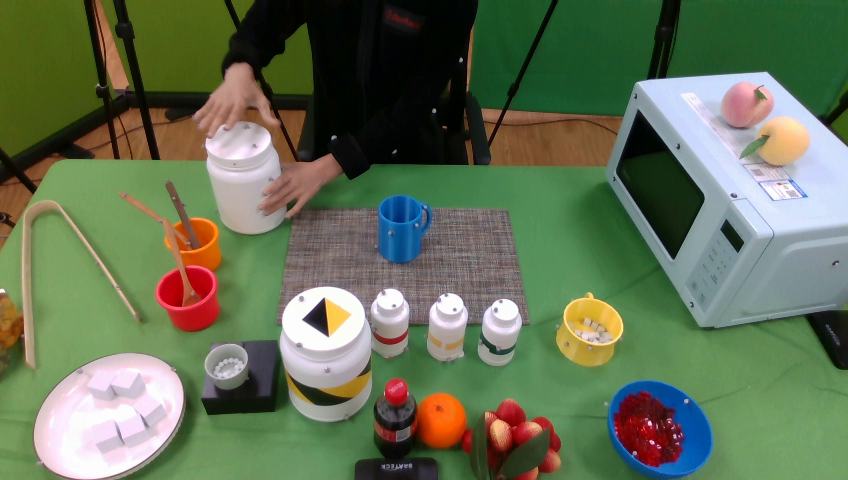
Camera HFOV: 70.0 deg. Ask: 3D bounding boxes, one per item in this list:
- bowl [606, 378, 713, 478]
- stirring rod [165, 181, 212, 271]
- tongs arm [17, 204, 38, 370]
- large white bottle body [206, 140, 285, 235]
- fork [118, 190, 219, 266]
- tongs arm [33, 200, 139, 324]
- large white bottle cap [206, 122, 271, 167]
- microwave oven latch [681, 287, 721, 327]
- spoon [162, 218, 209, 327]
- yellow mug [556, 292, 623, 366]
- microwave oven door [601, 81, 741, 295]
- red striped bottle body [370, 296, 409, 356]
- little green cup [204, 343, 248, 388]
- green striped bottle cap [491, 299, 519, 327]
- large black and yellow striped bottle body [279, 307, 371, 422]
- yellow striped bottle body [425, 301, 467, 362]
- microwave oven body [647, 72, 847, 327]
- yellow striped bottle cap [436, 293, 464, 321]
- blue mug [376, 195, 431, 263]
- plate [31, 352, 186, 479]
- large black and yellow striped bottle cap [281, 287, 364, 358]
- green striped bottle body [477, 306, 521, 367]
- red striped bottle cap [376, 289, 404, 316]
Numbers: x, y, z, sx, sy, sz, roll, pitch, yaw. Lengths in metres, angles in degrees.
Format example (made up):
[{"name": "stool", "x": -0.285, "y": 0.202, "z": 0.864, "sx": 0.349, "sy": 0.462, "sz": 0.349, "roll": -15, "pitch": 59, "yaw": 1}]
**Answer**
[{"name": "bowl", "x": 0.340, "y": 0.292, "z": 0.906, "sx": 0.151, "sy": 0.077, "sz": 0.150, "roll": 2, "pitch": 46, "yaw": -2}, {"name": "stirring rod", "x": -0.430, "y": -0.025, "z": 1.107, "sx": 0.014, "sy": 0.006, "sz": 0.176, "roll": -25, "pitch": 94, "yaw": -20}, {"name": "tongs arm", "x": -0.698, "y": 0.070, "z": 1.068, "sx": 0.028, "sy": 0.028, "sz": 0.385, "roll": -20, "pitch": 50, "yaw": -13}, {"name": "large white bottle body", "x": -0.344, "y": -0.116, "z": 1.169, "sx": 0.131, "sy": 0.185, "sz": 0.130, "roll": 2, "pitch": 46, "yaw": -2}, {"name": "fork", "x": -0.459, "y": -0.020, "z": 1.092, "sx": 0.208, "sy": 0.018, "sz": 0.028, "roll": 44, "pitch": 44, "yaw": -24}, {"name": "tongs arm", "x": -0.622, "y": 0.034, "z": 1.105, "sx": 0.051, "sy": 0.026, "sz": 0.382, "roll": -32, "pitch": 56, "yaw": -26}, {"name": "large white bottle cap", "x": -0.338, "y": -0.176, "z": 1.105, "sx": 0.115, "sy": 0.018, "sz": 0.114, "roll": 2, "pitch": 47, "yaw": -2}, {"name": "microwave oven latch", "x": 0.494, "y": 0.119, "z": 1.087, "sx": 0.030, "sy": 0.029, "sz": 0.078, "roll": -6, "pitch": 46, "yaw": -9}, {"name": "spoon", "x": -0.409, "y": 0.054, "z": 1.029, "sx": 0.041, "sy": 0.021, "sz": 0.194, "roll": -17, "pitch": 94, "yaw": -15}, {"name": "yellow mug", "x": 0.285, "y": 0.145, "z": 1.051, "sx": 0.100, "sy": 0.064, "sz": 0.130, "roll": 7, "pitch": 45, "yaw": 3}, {"name": "microwave oven door", "x": 0.455, "y": -0.107, "z": 1.162, "sx": 0.039, "sy": 0.245, "sz": 0.353, "roll": -6, "pitch": 47, "yaw": -11}, {"name": "red striped bottle body", "x": -0.058, "y": 0.134, "z": 0.997, "sx": 0.063, "sy": 0.120, "sz": 0.062, "roll": 4, "pitch": 47, "yaw": -4}, {"name": "little green cup", "x": -0.294, "y": 0.190, "z": 0.909, "sx": 0.061, "sy": 0.039, "sz": 0.061, "roll": 1, "pitch": 48, "yaw": -1}, {"name": "green striped bottle cap", "x": 0.128, "y": 0.115, "z": 0.958, "sx": 0.044, "sy": 0.020, "sz": 0.044, "roll": 1, "pitch": 47, "yaw": -1}, {"name": "large black and yellow striped bottle body", "x": -0.145, "y": 0.173, "z": 0.907, "sx": 0.131, "sy": 0.185, "sz": 0.130, "roll": 2, "pitch": 46, "yaw": -2}, {"name": "yellow striped bottle body", "x": 0.037, "y": 0.142, "z": 0.996, "sx": 0.063, "sy": 0.121, "sz": 0.062, "roll": 3, "pitch": 47, "yaw": -3}, {"name": "microwave oven body", "x": 0.607, "y": -0.089, "z": 1.164, "sx": 0.326, "sy": 0.261, "sz": 0.438, "roll": -7, "pitch": 46, "yaw": -10}, {"name": "yellow striped bottle cap", "x": 0.041, "y": 0.106, "z": 0.959, "sx": 0.044, "sy": 0.019, "sz": 0.044, "roll": 0, "pitch": 50, "yaw": 1}, {"name": "blue mug", "x": -0.035, "y": -0.027, "z": 1.159, "sx": 0.116, "sy": 0.106, "sz": 0.082, "roll": -24, "pitch": 53, "yaw": -25}, {"name": "plate", "x": -0.459, "y": 0.262, "z": 0.898, "sx": 0.209, "sy": 0.038, "sz": 0.208, "roll": 2, "pitch": 46, "yaw": -2}, {"name": "large black and yellow striped bottle cap", "x": -0.141, "y": 0.112, "z": 0.847, "sx": 0.115, "sy": 0.019, "sz": 0.114, "roll": 5, "pitch": 45, "yaw": -4}, {"name": "green striped bottle body", "x": 0.124, "y": 0.151, "z": 0.995, "sx": 0.063, "sy": 0.120, "sz": 0.063, "roll": 2, "pitch": 46, "yaw": -2}, {"name": "red striped bottle cap", "x": -0.055, "y": 0.098, "z": 0.959, "sx": 0.044, "sy": 0.018, "sz": 0.044, "roll": 0, "pitch": 48, "yaw": 1}]
